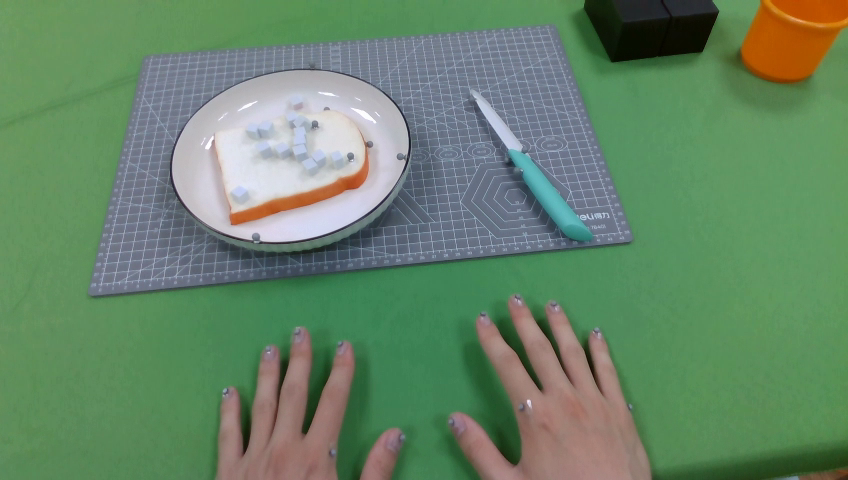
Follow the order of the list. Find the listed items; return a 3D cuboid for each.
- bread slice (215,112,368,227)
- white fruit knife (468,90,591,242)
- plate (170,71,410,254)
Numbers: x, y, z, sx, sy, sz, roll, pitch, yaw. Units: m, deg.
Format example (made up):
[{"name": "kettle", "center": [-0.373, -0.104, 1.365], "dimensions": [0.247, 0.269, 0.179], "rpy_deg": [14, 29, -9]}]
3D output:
[{"name": "bread slice", "center": [-0.118, -0.073, 0.546], "dimensions": [0.132, 0.019, 0.104], "rpy_deg": [-18, 57, -11]}, {"name": "white fruit knife", "center": [0.088, -0.076, 0.559], "dimensions": [0.027, 0.016, 0.205], "rpy_deg": [0, 47, -36]}, {"name": "plate", "center": [-0.116, -0.070, 0.542], "dimensions": [0.209, 0.038, 0.207], "rpy_deg": [0, 55, 0]}]
